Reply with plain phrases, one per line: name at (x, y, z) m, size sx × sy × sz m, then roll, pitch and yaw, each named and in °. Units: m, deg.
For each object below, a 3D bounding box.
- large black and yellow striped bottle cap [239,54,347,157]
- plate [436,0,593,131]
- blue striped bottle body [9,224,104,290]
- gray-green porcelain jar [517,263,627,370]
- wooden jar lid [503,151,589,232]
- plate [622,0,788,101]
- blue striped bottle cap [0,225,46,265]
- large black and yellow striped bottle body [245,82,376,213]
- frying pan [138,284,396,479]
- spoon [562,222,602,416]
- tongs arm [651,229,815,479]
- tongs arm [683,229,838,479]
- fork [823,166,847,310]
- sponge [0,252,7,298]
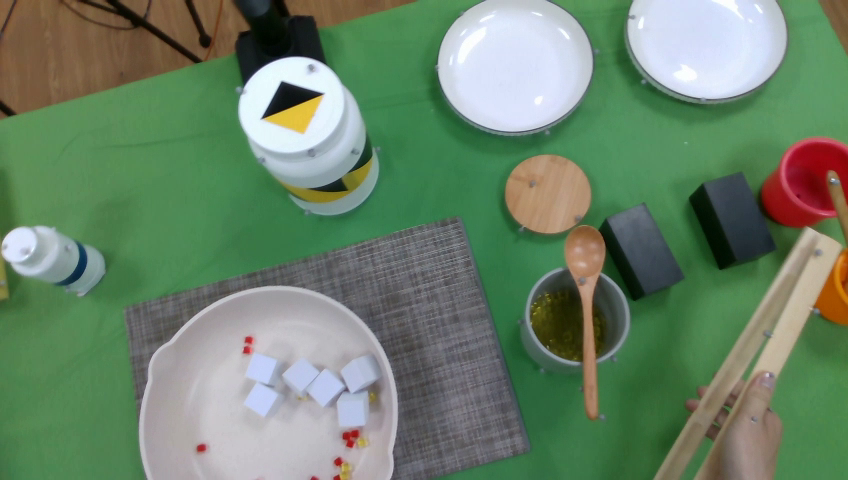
large black and yellow striped bottle cap at (-0.141, -0.145, 0.651) m, size 0.115 × 0.019 × 0.114 m, roll -1°, pitch 76°, yaw 4°
plate at (0.120, -0.238, 0.819) m, size 0.207 × 0.039 × 0.206 m, roll -1°, pitch 75°, yaw 5°
blue striped bottle body at (-0.460, 0.020, 0.750) m, size 0.063 × 0.121 × 0.062 m, roll -1°, pitch 74°, yaw 5°
gray-green porcelain jar at (0.160, 0.091, 0.680) m, size 0.106 × 0.127 × 0.105 m, roll -1°, pitch 74°, yaw 4°
wooden jar lid at (0.155, -0.061, 0.777) m, size 0.108 × 0.021 × 0.108 m, roll -1°, pitch 76°, yaw 4°
plate at (0.369, -0.276, 0.809) m, size 0.209 × 0.038 × 0.208 m, roll -1°, pitch 74°, yaw 5°
blue striped bottle cap at (-0.465, 0.005, 0.701) m, size 0.044 × 0.021 × 0.044 m, roll -1°, pitch 76°, yaw 4°
large black and yellow striped bottle body at (-0.135, -0.121, 0.731) m, size 0.131 × 0.185 × 0.130 m, roll -1°, pitch 74°, yaw 4°
frying pan at (-0.220, 0.285, 0.664) m, size 0.306 × 0.103 × 0.486 m, roll 24°, pitch 70°, yaw 11°
spoon at (0.161, 0.078, 0.610) m, size 0.041 × 0.022 × 0.193 m, roll 1°, pitch 78°, yaw -1°
tongs arm at (0.307, 0.161, 0.624) m, size 0.028 × 0.028 × 0.387 m, roll 29°, pitch 94°, yaw -7°
tongs arm at (0.308, 0.162, 0.612) m, size 0.026 × 0.051 × 0.384 m, roll 30°, pitch 86°, yaw -3°
fork at (0.463, 0.005, 0.667) m, size 0.028 × 0.018 × 0.209 m, roll -28°, pitch 119°, yaw 5°
sponge at (-0.644, -0.007, 0.802) m, size 0.118 × 0.061 × 0.205 m, roll -20°, pitch 75°, yaw -2°
